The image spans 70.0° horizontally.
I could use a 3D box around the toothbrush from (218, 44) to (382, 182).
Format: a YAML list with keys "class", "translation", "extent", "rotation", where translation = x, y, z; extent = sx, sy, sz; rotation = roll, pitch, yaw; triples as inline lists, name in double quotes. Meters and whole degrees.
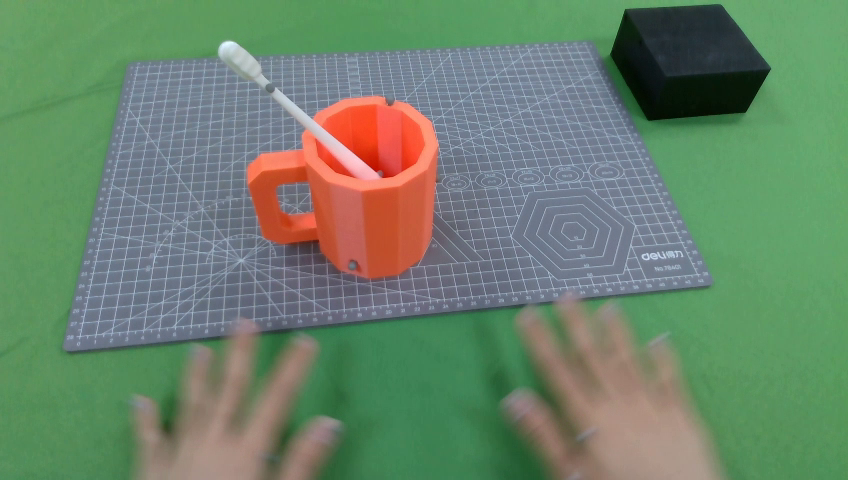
- class: "toothbrush"
  translation: [-0.056, -0.058, 0.387]
  extent: [0.016, 0.184, 0.014]
  rotation: [16, 71, 47]

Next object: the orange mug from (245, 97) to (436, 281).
- class: "orange mug"
  translation: [-0.055, -0.032, 0.416]
  extent: [0.126, 0.101, 0.082]
  rotation: [-6, 53, -13]
